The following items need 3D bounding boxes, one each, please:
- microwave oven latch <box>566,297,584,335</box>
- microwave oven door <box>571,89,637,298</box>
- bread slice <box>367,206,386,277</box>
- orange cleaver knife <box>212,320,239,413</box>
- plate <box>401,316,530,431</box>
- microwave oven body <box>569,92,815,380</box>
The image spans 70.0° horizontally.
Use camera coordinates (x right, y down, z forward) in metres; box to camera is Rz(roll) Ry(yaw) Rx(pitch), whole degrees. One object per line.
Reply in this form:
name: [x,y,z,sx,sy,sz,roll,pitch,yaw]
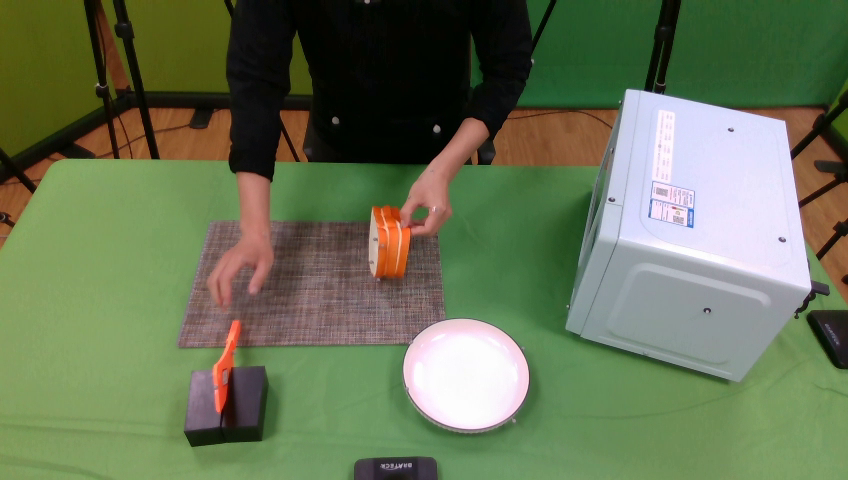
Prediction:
microwave oven latch: [0.268,0.126,1.059,0.030,0.029,0.079,16,46,12]
microwave oven door: [0.343,-0.091,1.132,0.039,0.245,0.354,15,47,10]
bread slice: [-0.086,0.005,1.087,0.018,0.107,0.133,1,17,-12]
orange cleaver knife: [-0.306,0.190,0.944,0.012,0.077,0.210,-5,17,-7]
plate: [0.066,0.217,0.982,0.208,0.039,0.206,2,46,-2]
microwave oven body: [0.468,-0.021,1.082,0.325,0.261,0.440,15,46,11]
